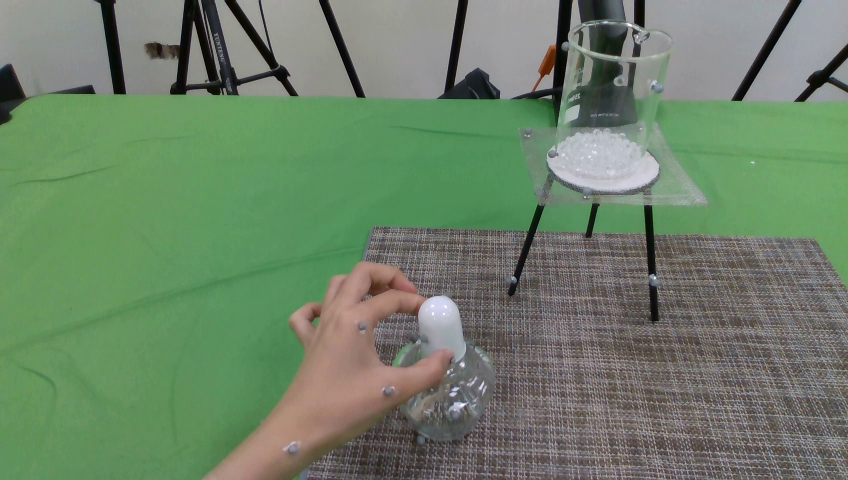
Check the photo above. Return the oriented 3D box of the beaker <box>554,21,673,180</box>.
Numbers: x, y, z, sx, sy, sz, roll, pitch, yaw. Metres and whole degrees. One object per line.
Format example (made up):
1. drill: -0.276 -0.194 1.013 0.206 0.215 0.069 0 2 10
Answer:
1. beaker: 0.140 -0.105 0.461 0.073 0.101 0.084 27 46 29

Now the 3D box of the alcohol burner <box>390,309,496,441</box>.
1. alcohol burner: 0.013 0.088 0.428 0.078 0.120 0.077 0 41 1

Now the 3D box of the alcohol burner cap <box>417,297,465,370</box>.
1. alcohol burner cap: 0.009 0.060 0.406 0.034 0.048 0.033 -4 35 3

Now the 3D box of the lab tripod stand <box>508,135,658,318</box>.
1. lab tripod stand: 0.150 -0.013 0.529 0.148 0.132 0.147 0 39 1

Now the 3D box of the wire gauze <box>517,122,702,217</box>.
1. wire gauze: 0.143 -0.061 0.485 0.125 0.011 0.120 1 41 -1
